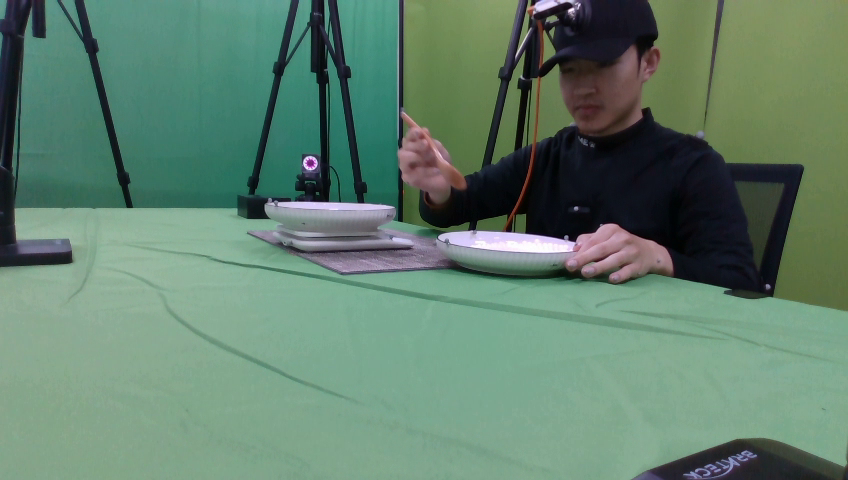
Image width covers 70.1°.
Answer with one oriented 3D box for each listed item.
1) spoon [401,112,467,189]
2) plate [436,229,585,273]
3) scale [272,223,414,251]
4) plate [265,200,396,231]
[{"bbox_3d":[0.012,-0.141,0.919,0.022,0.042,0.193,-25,51,-9],"label":"spoon"},{"bbox_3d":[0.121,0.015,0.855,0.209,0.038,0.209,3,8,0],"label":"plate"},{"bbox_3d":[-0.132,-0.008,0.983,0.202,0.031,0.148,-2,8,-31],"label":"scale"},{"bbox_3d":[-0.150,-0.040,0.972,0.208,0.039,0.207,2,6,0],"label":"plate"}]
